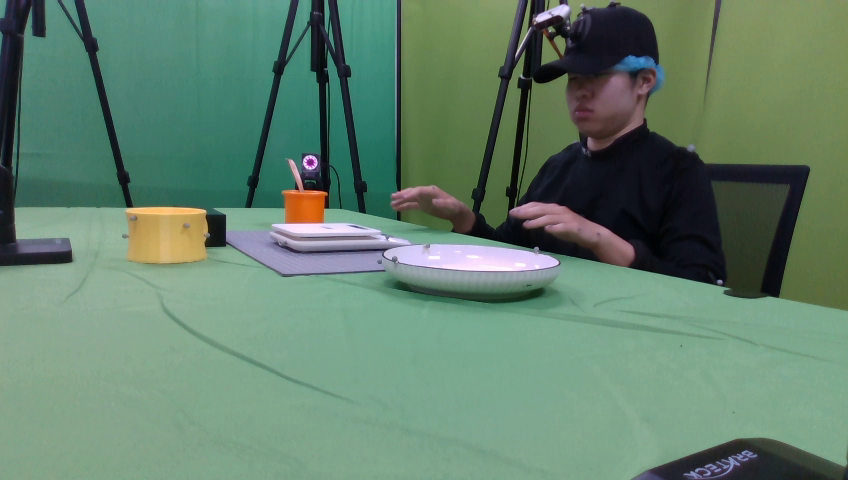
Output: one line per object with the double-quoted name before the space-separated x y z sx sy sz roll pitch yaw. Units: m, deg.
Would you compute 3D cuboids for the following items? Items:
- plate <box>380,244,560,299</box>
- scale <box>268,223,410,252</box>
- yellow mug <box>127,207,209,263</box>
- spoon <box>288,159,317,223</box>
"plate" 0.053 0.036 0.708 0.209 0.038 0.209 2 7 0
"scale" -0.137 -0.006 0.980 0.202 0.031 0.148 -1 8 -30
"yellow mug" -0.339 -0.010 0.827 0.100 0.064 0.131 5 7 17
"spoon" -0.260 -0.103 1.268 0.042 0.193 0.021 3 -39 -33
